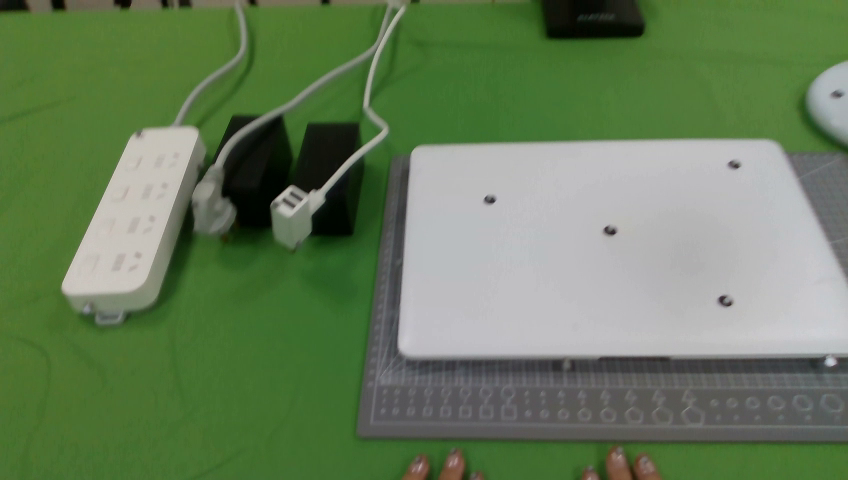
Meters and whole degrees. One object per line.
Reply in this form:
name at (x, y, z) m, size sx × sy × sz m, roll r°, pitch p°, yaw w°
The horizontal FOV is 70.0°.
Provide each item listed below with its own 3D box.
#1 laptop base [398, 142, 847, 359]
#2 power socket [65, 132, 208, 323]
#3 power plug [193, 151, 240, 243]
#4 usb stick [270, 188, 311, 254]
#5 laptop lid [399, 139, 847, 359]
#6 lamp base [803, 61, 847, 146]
laptop base at (0.159, 0.001, 0.526) m, size 0.354 × 0.023 × 0.233 m, roll -1°, pitch 52°, yaw 2°
power socket at (-0.258, -0.025, 0.561) m, size 0.072 × 0.033 × 0.224 m, roll -2°, pitch 48°, yaw 0°
power plug at (-0.173, -0.034, 0.534) m, size 0.035 × 0.053 × 0.072 m, roll 19°, pitch 67°, yaw 26°
usb stick at (-0.109, -0.013, 0.499) m, size 0.021 × 0.059 × 0.027 m, roll 29°, pitch 53°, yaw 14°
laptop lid at (0.158, -0.005, 0.515) m, size 0.356 × 0.013 × 0.239 m, roll 0°, pitch 50°, yaw 3°
lamp base at (0.483, -0.194, 0.576) m, size 0.159 × 0.182 × 0.179 m, roll 30°, pitch 54°, yaw 27°
